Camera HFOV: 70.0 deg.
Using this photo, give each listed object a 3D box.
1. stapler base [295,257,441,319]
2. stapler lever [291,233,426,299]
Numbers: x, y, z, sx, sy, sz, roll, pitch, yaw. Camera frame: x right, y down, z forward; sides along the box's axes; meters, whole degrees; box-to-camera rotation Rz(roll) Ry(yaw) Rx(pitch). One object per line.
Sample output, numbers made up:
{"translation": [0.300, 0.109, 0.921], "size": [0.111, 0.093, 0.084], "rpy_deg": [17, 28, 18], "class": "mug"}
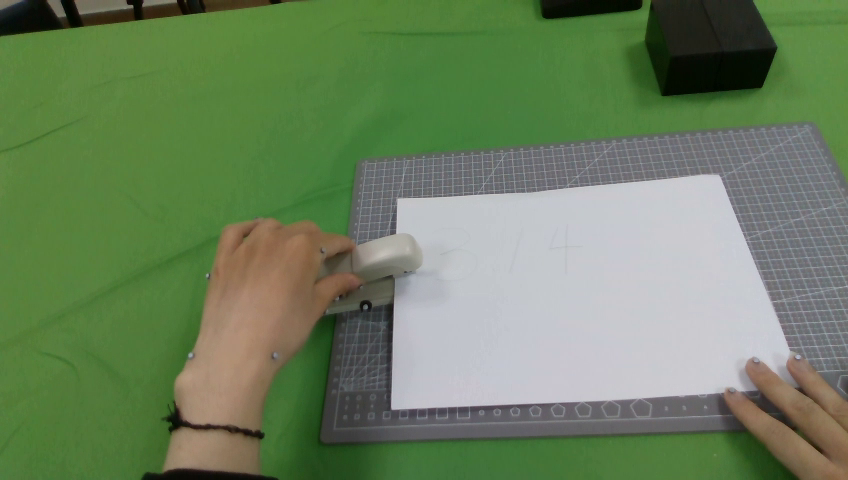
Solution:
{"translation": [-0.052, 0.036, 0.523], "size": [0.130, 0.025, 0.041], "rpy_deg": [-11, 50, 3], "class": "stapler base"}
{"translation": [-0.057, 0.022, 0.504], "size": [0.118, 0.040, 0.026], "rpy_deg": [-10, 50, 2], "class": "stapler lever"}
